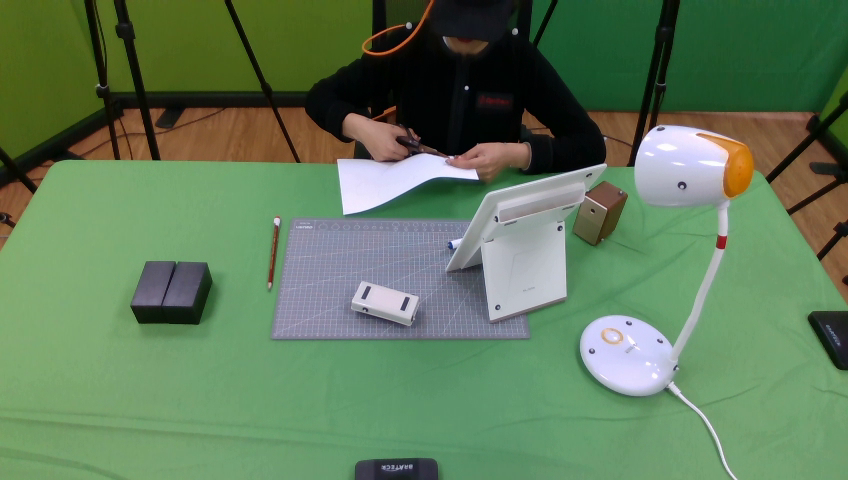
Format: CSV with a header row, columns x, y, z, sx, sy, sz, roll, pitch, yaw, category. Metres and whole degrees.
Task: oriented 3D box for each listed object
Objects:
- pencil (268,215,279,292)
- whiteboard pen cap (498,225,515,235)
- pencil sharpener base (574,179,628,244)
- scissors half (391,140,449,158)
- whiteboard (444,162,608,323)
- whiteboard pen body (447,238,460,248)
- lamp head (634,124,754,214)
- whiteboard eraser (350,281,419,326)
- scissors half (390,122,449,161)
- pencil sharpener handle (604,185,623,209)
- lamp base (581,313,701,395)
x,y,z,sx,sy,sz,roll,pitch,yaw,category
-0.290,0.022,1.164,0.012,0.012,0.192,-2,48,-6,pencil
0.166,-0.019,1.222,0.033,0.018,0.018,-14,49,-19,whiteboard pen cap
0.355,-0.057,1.217,0.076,0.107,0.061,-33,56,-31,pencil sharpener base
-0.010,-0.198,1.353,0.174,0.040,0.013,14,35,42,scissors half
0.186,0.025,1.029,0.217,0.306,0.143,-14,68,-18,whiteboard
0.112,-0.006,1.204,0.141,0.017,0.017,-14,49,-18,whiteboard pen body
0.351,-0.089,0.775,0.112,0.113,0.122,-30,30,-28,lamp head
-0.069,0.113,1.065,0.112,0.042,0.055,14,46,9,whiteboard eraser
-0.010,-0.216,1.340,0.174,0.040,0.013,36,53,24,scissors half
0.390,-0.091,1.235,0.030,0.068,0.036,-33,69,-31,pencil sharpener handle
0.361,0.144,0.972,0.178,0.181,0.160,34,53,23,lamp base
